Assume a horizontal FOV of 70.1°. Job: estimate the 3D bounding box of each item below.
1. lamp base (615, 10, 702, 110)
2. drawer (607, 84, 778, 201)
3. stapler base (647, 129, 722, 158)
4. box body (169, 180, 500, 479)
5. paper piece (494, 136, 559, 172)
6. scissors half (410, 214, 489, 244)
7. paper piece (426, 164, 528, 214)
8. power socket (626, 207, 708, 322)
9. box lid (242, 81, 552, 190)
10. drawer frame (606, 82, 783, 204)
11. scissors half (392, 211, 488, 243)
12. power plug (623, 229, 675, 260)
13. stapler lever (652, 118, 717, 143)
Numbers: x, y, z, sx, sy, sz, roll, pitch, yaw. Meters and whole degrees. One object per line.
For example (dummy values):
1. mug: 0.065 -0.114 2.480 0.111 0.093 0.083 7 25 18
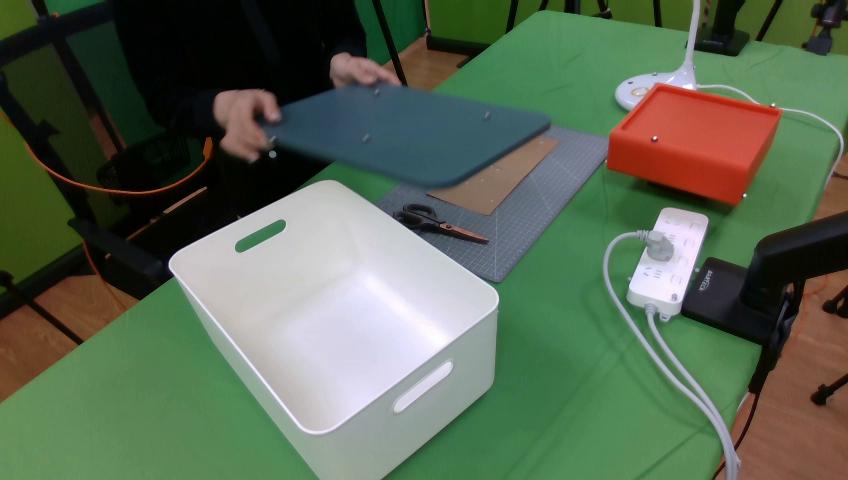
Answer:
1. lamp base: 0.484 -0.364 1.211 0.180 0.181 0.159 -15 41 -14
2. drawer: 0.439 -0.167 0.996 0.210 0.073 0.195 23 48 30
3. stapler base: 0.439 -0.167 1.023 0.131 0.024 0.041 -16 25 -15
4. box body: -0.110 0.103 0.761 0.255 0.161 0.361 -33 46 -27
5. paper piece: 0.171 -0.178 1.168 0.137 0.009 0.136 21 44 31
6. scissors half: 0.033 -0.019 1.010 0.174 0.013 0.040 20 8 33
7. paper piece: 0.096 -0.103 1.089 0.134 0.004 0.136 24 48 31
8. power socket: 0.360 0.026 0.886 0.072 0.033 0.227 16 46 26
9. box lid: -0.043 -0.157 0.827 0.368 0.015 0.264 20 37 34
10. drawer frame: 0.441 -0.167 0.995 0.212 0.083 0.202 23 48 30
11. scissors half: 0.023 -0.019 0.993 0.174 0.013 0.040 17 12 18
12. power plug: 0.327 0.007 0.878 0.072 0.053 0.035 25 51 33
13. stapler lever: 0.436 -0.192 1.014 0.118 0.040 0.026 -15 25 -16
